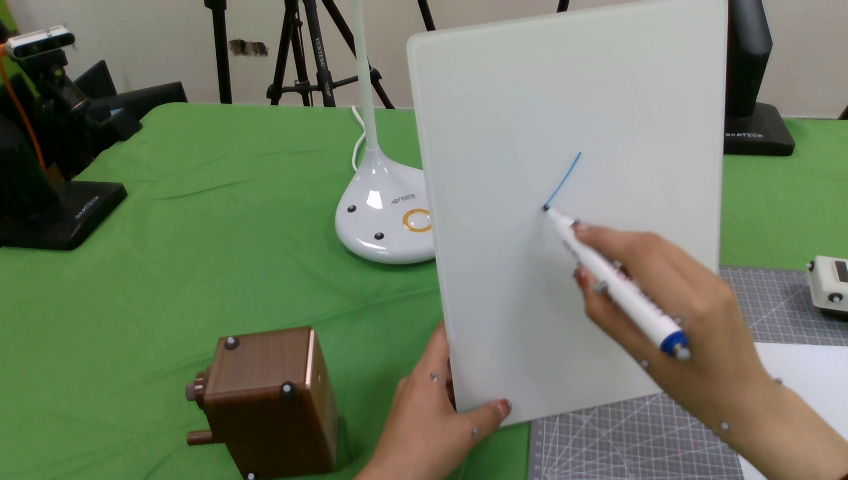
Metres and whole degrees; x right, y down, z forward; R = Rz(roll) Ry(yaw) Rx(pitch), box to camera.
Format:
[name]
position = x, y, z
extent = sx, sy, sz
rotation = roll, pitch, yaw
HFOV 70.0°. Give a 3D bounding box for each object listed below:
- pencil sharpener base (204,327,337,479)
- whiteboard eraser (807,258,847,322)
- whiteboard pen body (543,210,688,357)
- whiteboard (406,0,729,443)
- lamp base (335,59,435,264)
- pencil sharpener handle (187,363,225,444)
[pencil sharpener base]
position = -0.111, 0.124, 0.452
extent = 0.077, 0.108, 0.060
rotation = -6, 40, -1
[whiteboard eraser]
position = 0.406, 0.051, 0.536
extent = 0.112, 0.042, 0.055
rotation = 10, 42, 17
[whiteboard pen body]
position = 0.112, 0.019, 0.376
extent = 0.017, 0.017, 0.139
rotation = -18, 42, -15
[whiteboard]
position = 0.106, -0.023, 0.499
extent = 0.217, 0.307, 0.143
rotation = -10, 20, -5
[lamp base]
position = -0.035, -0.092, 0.651
extent = 0.161, 0.182, 0.177
rotation = -28, 42, -26
[pencil sharpener handle]
position = -0.163, 0.122, 0.440
extent = 0.030, 0.068, 0.035
rotation = -6, 27, -1
